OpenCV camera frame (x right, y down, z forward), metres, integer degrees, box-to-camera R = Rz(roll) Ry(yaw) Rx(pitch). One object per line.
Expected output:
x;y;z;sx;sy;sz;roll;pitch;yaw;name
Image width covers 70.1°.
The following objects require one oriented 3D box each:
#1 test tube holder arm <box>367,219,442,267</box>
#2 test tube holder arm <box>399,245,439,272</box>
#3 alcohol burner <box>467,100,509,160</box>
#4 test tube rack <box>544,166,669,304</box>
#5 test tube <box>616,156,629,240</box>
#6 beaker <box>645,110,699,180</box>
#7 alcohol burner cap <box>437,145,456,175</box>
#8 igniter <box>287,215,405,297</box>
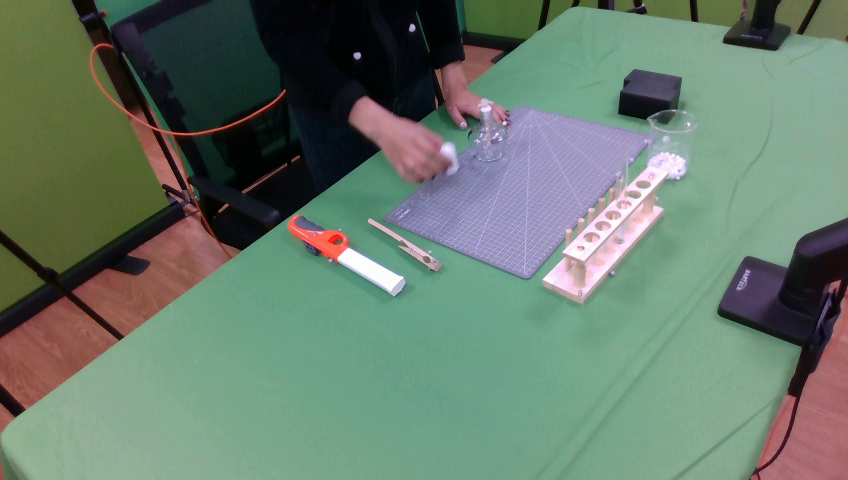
-0.035;0.003;0.985;0.177;0.015;0.013;32;89;40;test tube holder arm
-0.009;0.026;0.956;0.087;0.015;0.010;35;91;40;test tube holder arm
0.118;-0.210;1.131;0.078;0.119;0.077;-6;42;5;alcohol burner
0.274;-0.018;0.903;0.066;0.085;0.243;26;51;35;test tube rack
0.285;-0.057;0.869;0.017;0.151;0.017;-8;42;8;test tube
0.417;-0.160;1.032;0.083;0.101;0.074;25;51;34;beaker
0.037;-0.139;1.031;0.034;0.048;0.033;-4;37;3;alcohol burner cap
-0.137;0.019;0.980;0.274;0.025;0.057;28;62;35;igniter
